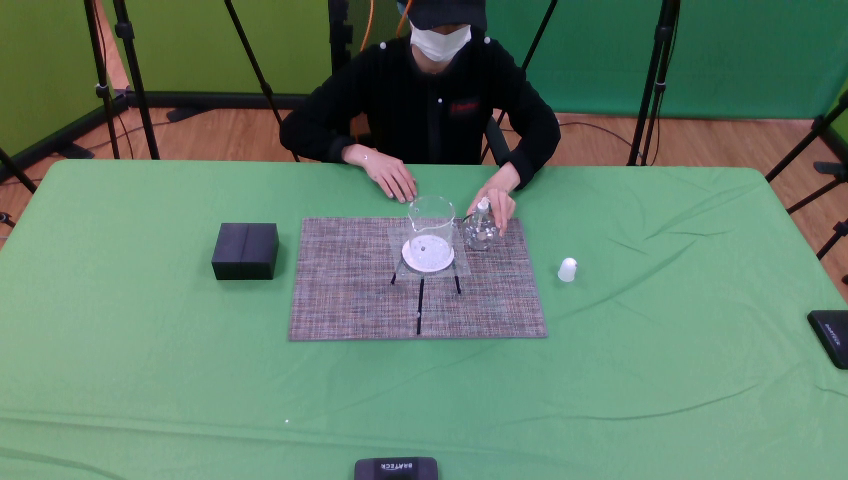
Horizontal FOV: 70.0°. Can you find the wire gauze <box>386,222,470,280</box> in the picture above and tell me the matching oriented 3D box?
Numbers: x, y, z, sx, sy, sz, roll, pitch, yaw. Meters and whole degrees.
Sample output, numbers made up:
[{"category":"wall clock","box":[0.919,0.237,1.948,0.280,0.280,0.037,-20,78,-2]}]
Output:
[{"category":"wire gauze","box":[0.005,0.018,1.006,0.125,0.011,0.120,-7,45,-5]}]

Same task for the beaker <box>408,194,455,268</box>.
[{"category":"beaker","box":[0.009,-0.010,0.965,0.074,0.101,0.084,23,50,20]}]

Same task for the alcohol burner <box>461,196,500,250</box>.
[{"category":"alcohol burner","box":[0.110,-0.038,1.172,0.078,0.120,0.077,-1,46,1]}]

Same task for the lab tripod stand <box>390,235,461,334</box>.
[{"category":"lab tripod stand","box":[-0.001,0.067,1.050,0.148,0.132,0.147,1,47,-1]}]

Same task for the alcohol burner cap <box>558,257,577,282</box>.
[{"category":"alcohol burner cap","box":[0.276,0.053,1.154,0.034,0.048,0.033,2,46,-1]}]
